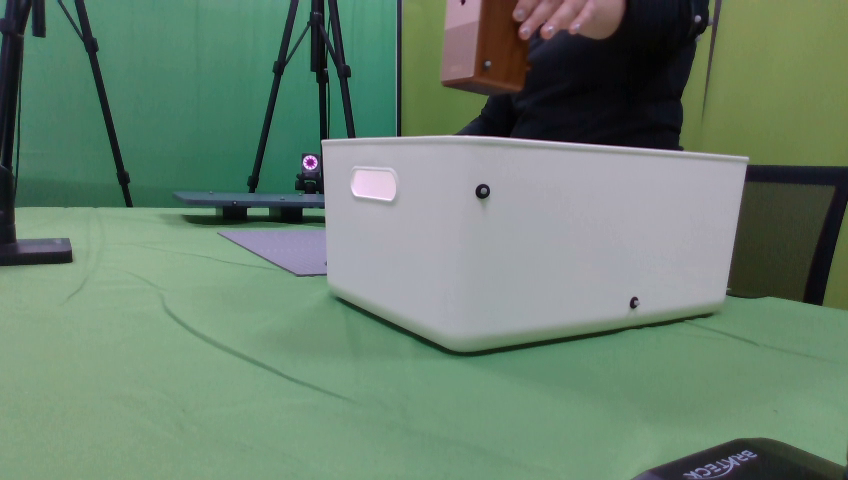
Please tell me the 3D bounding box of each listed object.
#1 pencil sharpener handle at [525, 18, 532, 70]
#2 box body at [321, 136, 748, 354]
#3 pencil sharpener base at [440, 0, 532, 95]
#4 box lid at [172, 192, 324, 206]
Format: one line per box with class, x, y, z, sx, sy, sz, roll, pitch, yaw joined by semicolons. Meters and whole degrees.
pencil sharpener handle;0.108;-0.222;0.664;0.031;0.067;0.036;2;10;-35
box body;0.105;-0.011;0.604;0.366;0.160;0.253;-2;8;-33
pencil sharpener base;0.066;-0.211;0.634;0.077;0.107;0.061;2;6;-35
box lid;-0.355;-0.091;1.350;0.373;0.015;0.262;-1;8;-29
